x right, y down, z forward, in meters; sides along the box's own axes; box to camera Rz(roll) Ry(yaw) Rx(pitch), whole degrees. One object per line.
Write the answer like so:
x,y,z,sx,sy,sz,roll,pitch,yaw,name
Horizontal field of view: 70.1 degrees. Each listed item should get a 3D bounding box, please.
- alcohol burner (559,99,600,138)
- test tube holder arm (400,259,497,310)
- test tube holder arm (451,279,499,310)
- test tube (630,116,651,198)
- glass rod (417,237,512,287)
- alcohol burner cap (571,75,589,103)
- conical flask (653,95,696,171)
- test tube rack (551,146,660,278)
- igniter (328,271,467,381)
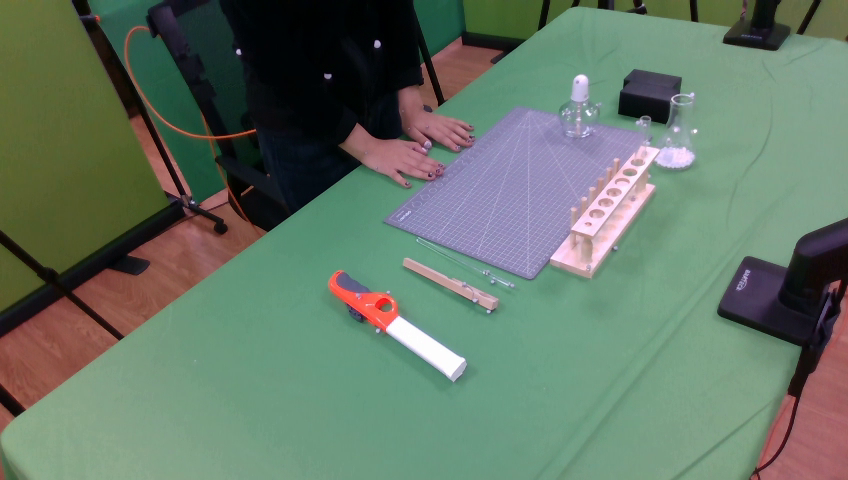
0.298,-0.258,1.156,0.078,0.119,0.077,-4,39,4,alcohol burner
0.033,0.064,0.902,0.177,0.015,0.013,23,13,32,test tube holder arm
0.071,0.079,0.883,0.087,0.015,0.010,23,13,34,test tube holder arm
0.336,-0.125,0.941,0.017,0.151,0.017,-5,43,5,test tube
0.059,0.032,0.945,0.198,0.008,0.008,26,52,38,glass rod
0.294,-0.284,1.132,0.034,0.048,0.033,-5,46,5,alcohol burner cap
0.437,-0.187,1.043,0.075,0.122,0.075,-6,40,5,conical flask
0.286,-0.053,0.944,0.066,0.085,0.243,21,49,32,test tube rack
-0.049,0.114,0.854,0.274,0.025,0.057,29,63,37,igniter
